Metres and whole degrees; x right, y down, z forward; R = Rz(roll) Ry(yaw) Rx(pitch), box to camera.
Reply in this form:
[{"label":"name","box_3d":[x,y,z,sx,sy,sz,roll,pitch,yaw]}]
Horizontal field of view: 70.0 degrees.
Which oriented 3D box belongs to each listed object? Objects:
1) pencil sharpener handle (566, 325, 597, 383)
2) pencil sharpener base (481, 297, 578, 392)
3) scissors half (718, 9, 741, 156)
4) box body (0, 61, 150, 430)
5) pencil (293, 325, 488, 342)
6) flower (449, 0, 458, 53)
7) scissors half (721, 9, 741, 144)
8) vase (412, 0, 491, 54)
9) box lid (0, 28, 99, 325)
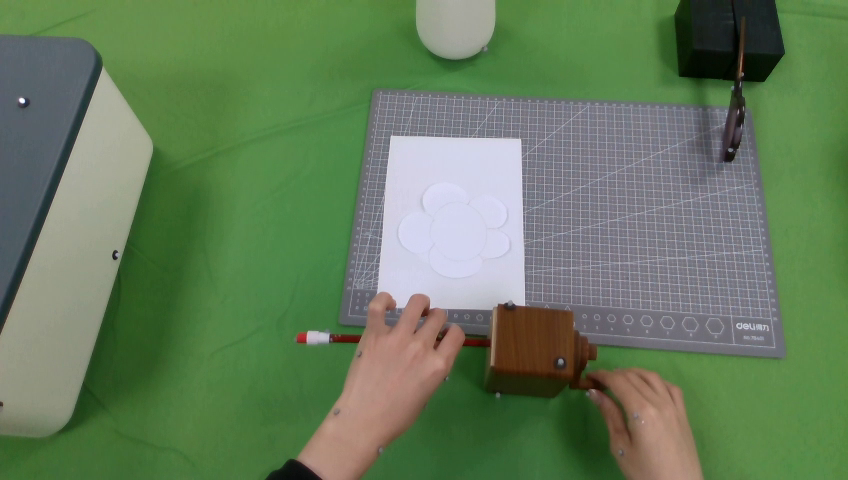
[{"label":"pencil sharpener handle","box_3d":[0.144,0.104,0.541,0.030,0.068,0.035,5,40,4]},{"label":"pencil sharpener base","box_3d":[0.094,0.099,0.559,0.076,0.108,0.061,5,66,4]},{"label":"scissors half","box_3d":[0.348,-0.179,0.685,0.012,0.040,0.175,8,85,20]},{"label":"box body","box_3d":[-0.451,-0.008,0.589,0.254,0.161,0.361,4,67,3]},{"label":"pencil","box_3d":[-0.018,0.084,0.535,0.194,0.012,0.012,2,67,-1]},{"label":"flower","box_3d":[0.021,-0.352,0.610,0.044,0.365,0.038,-3,49,4]},{"label":"scissors half","box_3d":[0.342,-0.185,0.666,0.013,0.040,0.174,9,68,15]},{"label":"vase","box_3d":[0.030,-0.306,0.681,0.098,0.201,0.097,-1,66,3]},{"label":"box lid","box_3d":[-0.453,-0.040,0.520,0.263,0.015,0.369,4,67,3]}]
